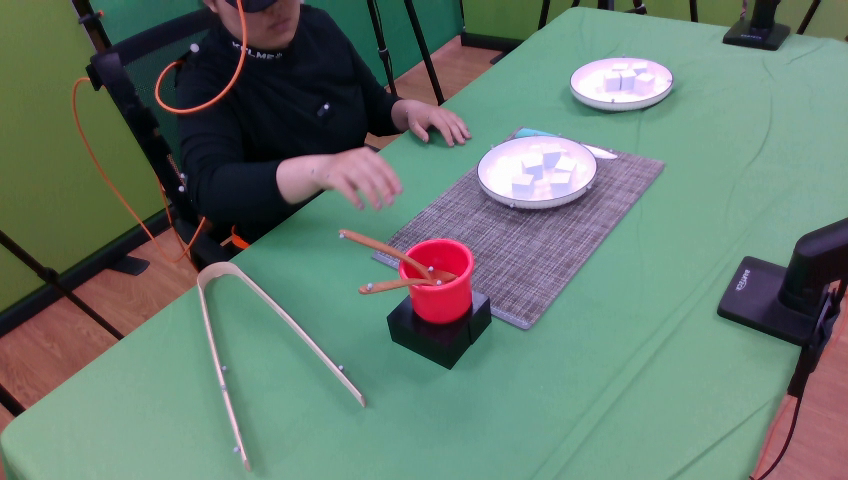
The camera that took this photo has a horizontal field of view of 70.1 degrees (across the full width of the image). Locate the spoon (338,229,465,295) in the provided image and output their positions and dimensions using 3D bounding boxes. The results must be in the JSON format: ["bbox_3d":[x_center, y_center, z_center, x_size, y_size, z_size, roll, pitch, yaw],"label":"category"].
[{"bbox_3d":[-0.025,0.026,0.776,0.021,0.195,0.041,-41,34,32],"label":"spoon"}]

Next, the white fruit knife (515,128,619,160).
[{"bbox_3d":[0.269,-0.182,1.148,0.206,0.016,0.027,21,78,29],"label":"white fruit knife"}]

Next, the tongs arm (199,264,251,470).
[{"bbox_3d":[-0.270,0.154,0.841,0.051,0.026,0.381,-23,40,-17],"label":"tongs arm"}]

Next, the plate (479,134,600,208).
[{"bbox_3d":[0.202,-0.117,1.065,0.207,0.039,0.206,-5,40,5],"label":"plate"}]

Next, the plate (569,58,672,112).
[{"bbox_3d":[0.411,-0.323,1.274,0.209,0.038,0.208,-5,41,5],"label":"plate"}]

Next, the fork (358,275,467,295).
[{"bbox_3d":[-0.009,0.056,0.739,0.028,0.018,0.209,48,23,26],"label":"fork"}]

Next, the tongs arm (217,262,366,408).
[{"bbox_3d":[-0.200,0.123,0.871,0.028,0.028,0.384,-35,46,-24],"label":"tongs arm"}]
